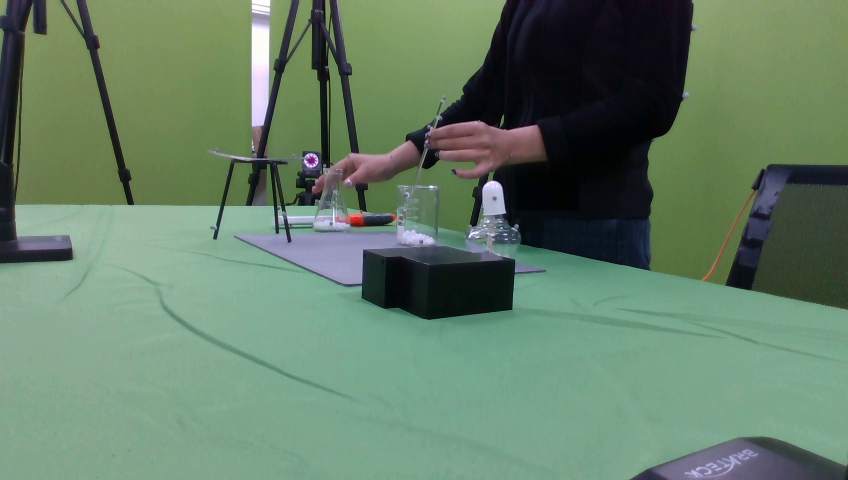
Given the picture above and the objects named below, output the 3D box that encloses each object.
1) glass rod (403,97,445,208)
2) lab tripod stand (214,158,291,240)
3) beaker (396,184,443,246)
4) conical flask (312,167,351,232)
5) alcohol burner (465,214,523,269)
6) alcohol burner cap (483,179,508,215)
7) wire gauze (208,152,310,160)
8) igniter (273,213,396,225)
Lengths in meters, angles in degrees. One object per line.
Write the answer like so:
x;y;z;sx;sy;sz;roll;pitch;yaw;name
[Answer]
-0.001;-0.137;0.976;0.008;0.199;0.008;17;28;-9;glass rod
-0.268;-0.068;1.002;0.148;0.131;0.148;3;6;0;lab tripod stand
-0.011;-0.043;1.004;0.083;0.100;0.074;8;9;38;beaker
-0.176;-0.078;1.161;0.075;0.122;0.075;3;7;0;conical flask
0.094;-0.022;0.815;0.078;0.119;0.078;0;7;0;alcohol burner
0.094;-0.057;0.810;0.034;0.048;0.034;-8;6;1;alcohol burner cap
-0.270;-0.135;0.993;0.124;0.011;0.122;9;8;41;wire gauze
-0.179;-0.044;1.258;0.278;0.025;0.057;-3;-1;-39;igniter
